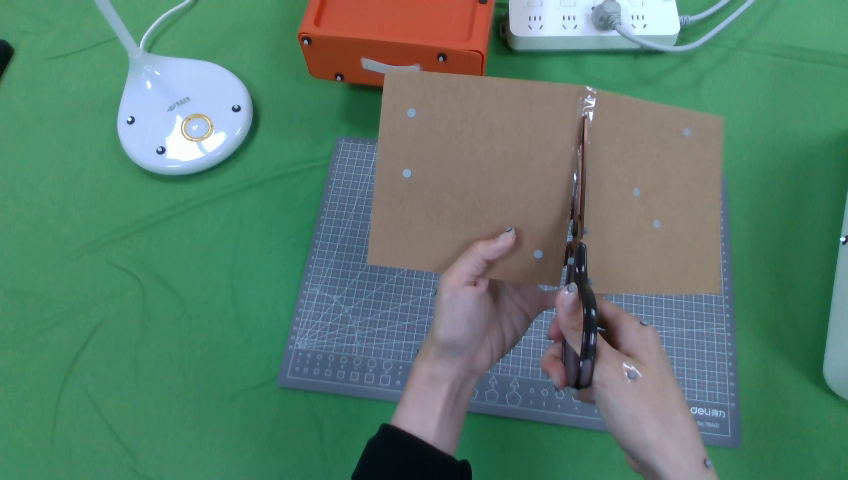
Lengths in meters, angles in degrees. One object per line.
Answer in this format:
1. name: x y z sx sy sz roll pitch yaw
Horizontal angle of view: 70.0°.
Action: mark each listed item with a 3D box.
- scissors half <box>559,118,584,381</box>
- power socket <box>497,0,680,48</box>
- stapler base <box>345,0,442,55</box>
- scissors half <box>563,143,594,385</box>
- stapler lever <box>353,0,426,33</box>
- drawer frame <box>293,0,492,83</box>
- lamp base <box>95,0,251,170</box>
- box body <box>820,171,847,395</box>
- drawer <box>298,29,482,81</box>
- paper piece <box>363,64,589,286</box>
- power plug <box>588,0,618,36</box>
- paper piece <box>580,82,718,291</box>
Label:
1. scissors half: 0.098 0.004 0.395 0.013 0.040 0.175 4 93 7
2. power socket: 0.206 -0.278 0.762 0.227 0.033 0.071 1 67 2
3. stapler base: -0.039 -0.265 0.710 0.129 0.024 0.041 36 88 19
4. scissors half: 0.096 0.001 0.374 0.013 0.040 0.174 4 68 2
5. stapler lever: -0.047 -0.271 0.686 0.117 0.040 0.027 36 88 20
6. drawer frame: -0.023 -0.285 0.699 0.201 0.083 0.212 7 66 6
7. lamp base: -0.302 -0.193 0.663 0.178 0.181 0.160 38 72 20
8. box body: 0.545 0.002 0.556 0.253 0.161 0.362 19 69 10
9. drawer: -0.021 -0.283 0.698 0.194 0.074 0.210 7 66 6
10. paper piece: 0.031 -0.044 0.404 0.136 0.008 0.138 8 98 9
11. power plug: 0.214 -0.261 0.729 0.035 0.053 0.072 11 67 7
12. paper piece: 0.161 -0.032 0.423 0.136 0.004 0.135 4 88 -27
